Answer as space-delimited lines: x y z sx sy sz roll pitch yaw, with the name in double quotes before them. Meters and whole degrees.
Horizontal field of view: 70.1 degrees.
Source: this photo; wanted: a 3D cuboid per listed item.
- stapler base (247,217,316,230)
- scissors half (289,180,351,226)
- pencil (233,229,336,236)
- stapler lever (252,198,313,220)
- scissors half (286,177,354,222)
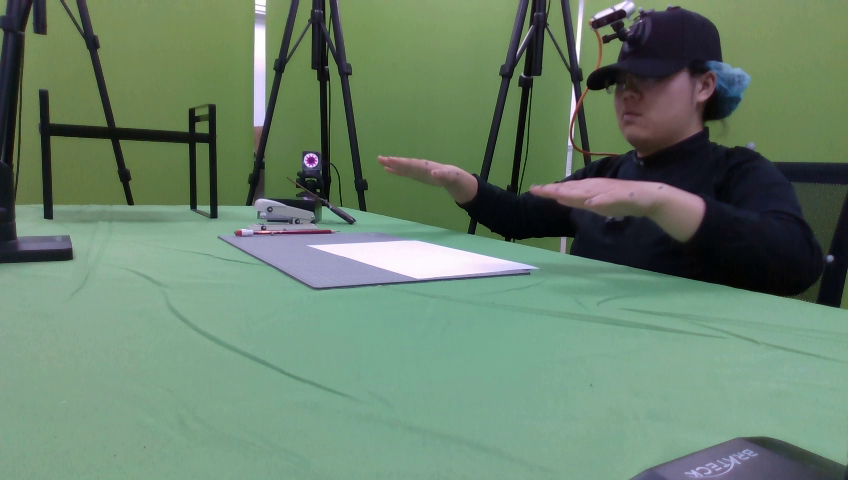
"stapler base" -0.276 -0.033 1.172 0.131 0.024 0.041 0 10 -37
"scissors half" -0.232 -0.085 1.318 0.175 0.013 0.040 38 20 4
"pencil" -0.240 -0.014 1.066 0.195 0.012 0.012 -1 8 -37
"stapler lever" -0.273 -0.059 1.170 0.119 0.040 0.026 0 10 -37
"scissors half" -0.229 -0.091 1.337 0.175 0.013 0.040 33 15 -13
